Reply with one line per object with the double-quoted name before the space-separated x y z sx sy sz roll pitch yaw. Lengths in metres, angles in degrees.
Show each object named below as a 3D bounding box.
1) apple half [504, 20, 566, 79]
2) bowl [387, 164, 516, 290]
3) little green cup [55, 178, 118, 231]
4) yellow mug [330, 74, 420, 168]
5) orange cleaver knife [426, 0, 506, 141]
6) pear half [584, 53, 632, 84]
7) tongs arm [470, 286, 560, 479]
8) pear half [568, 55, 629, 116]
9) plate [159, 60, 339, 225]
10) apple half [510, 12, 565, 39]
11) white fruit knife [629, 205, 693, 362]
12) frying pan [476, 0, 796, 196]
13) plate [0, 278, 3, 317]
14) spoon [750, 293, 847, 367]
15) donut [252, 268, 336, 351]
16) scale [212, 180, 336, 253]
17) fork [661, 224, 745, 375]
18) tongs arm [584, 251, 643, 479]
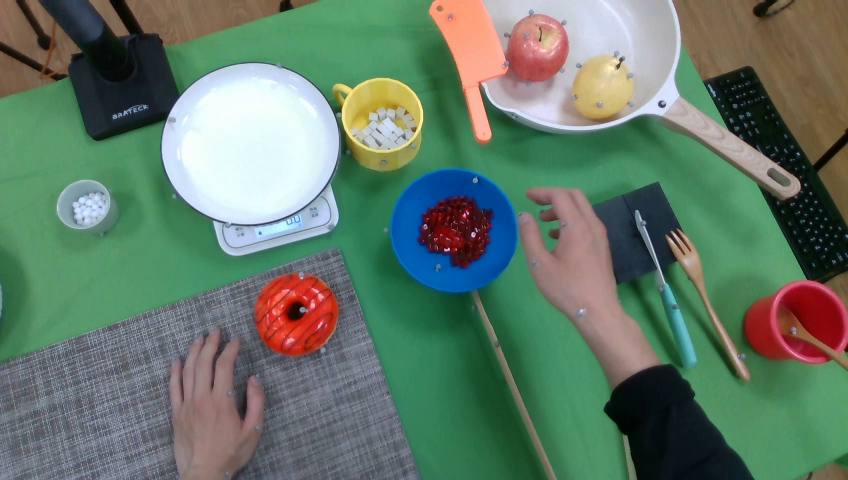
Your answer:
"apple half" 0.139 -0.241 0.794 0.081 0.075 0.053 21 79 -2
"bowl" 0.029 -0.008 0.734 0.151 0.077 0.150 1 77 -4
"little green cup" -0.402 -0.040 0.729 0.061 0.039 0.061 1 76 -3
"yellow mug" -0.068 -0.158 0.767 0.130 0.064 0.100 36 77 6
"orange cleaver knife" 0.062 -0.226 0.755 0.077 0.012 0.210 -15 79 -5
"pear half" 0.236 -0.225 0.789 0.070 0.088 0.031 10 75 4
"tongs arm" 0.148 0.223 0.710 0.051 0.026 0.383 -19 80 -14
"pear half" 0.224 -0.196 0.771 0.076 0.110 0.055 15 76 4
"plate" -0.206 -0.116 0.731 0.209 0.038 0.208 1 76 -4
"apple half" 0.152 -0.277 0.802 0.081 0.081 0.032 20 79 1
"white fruit knife" 0.287 0.054 0.736 0.016 0.027 0.207 -22 94 -8
"frying pan" 0.259 -0.209 0.784 0.485 0.103 0.306 40 78 14
"plate" -0.584 0.080 0.687 0.208 0.039 0.206 1 76 -4
"spoon" 0.460 0.122 0.700 0.041 0.022 0.191 -25 35 -10
"donut" -0.153 0.081 0.711 0.099 0.048 0.098 1 78 -2
"scale" -0.203 -0.094 0.760 0.149 0.031 0.200 -16 79 -7
"fork" 0.346 0.074 0.744 0.028 0.018 0.207 -29 96 -13
"tongs arm" 0.230 0.203 0.727 0.028 0.028 0.385 -4 77 -14
